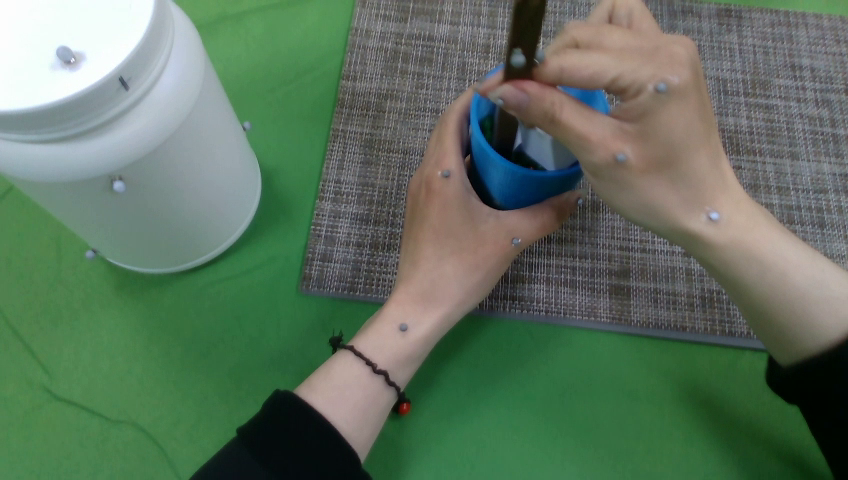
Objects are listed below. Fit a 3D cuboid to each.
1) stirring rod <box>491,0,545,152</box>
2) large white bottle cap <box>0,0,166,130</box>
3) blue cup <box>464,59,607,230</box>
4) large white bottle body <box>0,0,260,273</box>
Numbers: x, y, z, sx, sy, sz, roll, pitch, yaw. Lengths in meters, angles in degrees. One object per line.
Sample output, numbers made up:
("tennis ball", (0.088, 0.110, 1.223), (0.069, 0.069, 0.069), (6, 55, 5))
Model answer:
("stirring rod", (0.045, -0.065, 0.320), (0.014, 0.177, 0.006), (-10, 70, -2))
("large white bottle cap", (-0.183, -0.104, 0.286), (0.115, 0.018, 0.114), (1, 67, -1))
("blue cup", (0.067, -0.053, 0.406), (0.092, 0.101, 0.092), (0, 67, 1))
("large white bottle body", (-0.184, -0.069, 0.363), (0.131, 0.186, 0.129), (1, 67, -1))
